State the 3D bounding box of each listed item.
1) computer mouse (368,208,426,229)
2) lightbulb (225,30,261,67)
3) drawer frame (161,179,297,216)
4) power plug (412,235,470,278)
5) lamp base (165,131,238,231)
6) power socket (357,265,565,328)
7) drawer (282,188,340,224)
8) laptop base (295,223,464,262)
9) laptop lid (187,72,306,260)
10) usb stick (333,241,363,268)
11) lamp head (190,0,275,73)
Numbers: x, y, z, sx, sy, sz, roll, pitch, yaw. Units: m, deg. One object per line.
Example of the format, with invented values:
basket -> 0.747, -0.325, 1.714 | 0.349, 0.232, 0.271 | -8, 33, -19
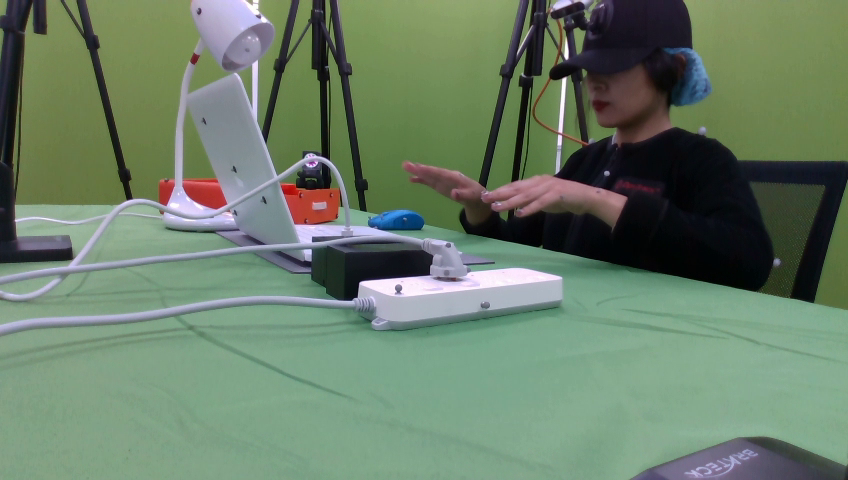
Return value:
computer mouse -> -0.057, -0.044, 1.267 | 0.118, 0.041, 0.062 | -6, 12, -28
lightbulb -> -0.317, -0.334, 1.002 | 0.107, 0.059, 0.059 | 45, 16, 6
drawer frame -> -0.421, -0.089, 1.329 | 0.213, 0.082, 0.202 | 4, 8, 16
power plug -> 0.017, 0.023, 0.588 | 0.035, 0.052, 0.072 | -1, 8, -24
lamp base -> -0.407, -0.112, 1.119 | 0.179, 0.180, 0.161 | -1, 7, 7
power socket -> 0.041, 0.049, 0.572 | 0.228, 0.032, 0.072 | -3, 8, -35
drawer -> -0.314, -0.079, 1.301 | 0.211, 0.073, 0.195 | 4, 8, 15
laptop base -> -0.127, 0.002, 0.947 | 0.237, 0.023, 0.352 | 2, 6, -30
laptop lid -> -0.263, -0.102, 0.852 | 0.013, 0.242, 0.355 | -25, 20, -25
usb stick -> -0.097, 0.017, 0.743 | 0.021, 0.027, 0.059 | 0, 7, -31
lamp head -> -0.330, -0.355, 1.008 | 0.123, 0.112, 0.112 | 43, 15, 6
